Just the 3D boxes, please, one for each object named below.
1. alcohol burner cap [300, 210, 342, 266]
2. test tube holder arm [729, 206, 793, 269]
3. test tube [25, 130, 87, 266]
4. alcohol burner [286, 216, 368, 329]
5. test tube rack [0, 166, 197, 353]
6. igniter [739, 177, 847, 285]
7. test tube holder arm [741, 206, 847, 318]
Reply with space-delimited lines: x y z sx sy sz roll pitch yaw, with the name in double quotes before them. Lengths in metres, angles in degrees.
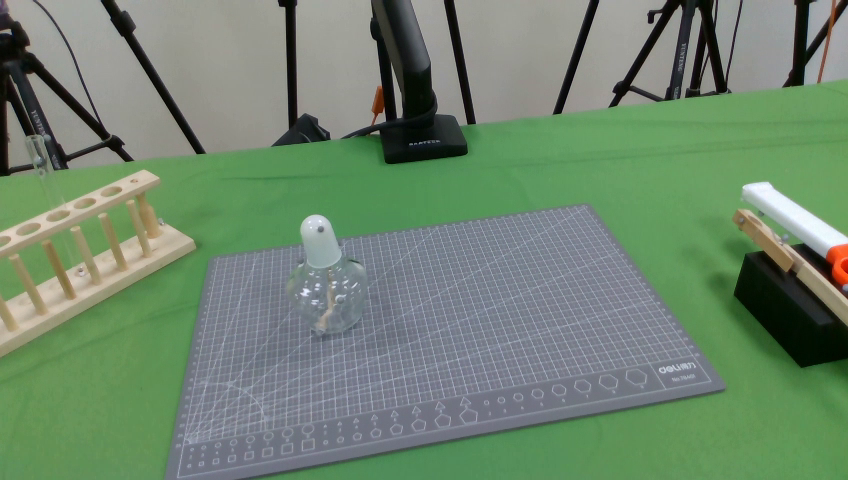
"alcohol burner cap" -0.094 -0.005 0.540 0.034 0.048 0.033 -5 38 4
"test tube holder arm" 0.316 -0.004 0.566 0.010 0.015 0.087 -4 35 -11
"test tube" -0.373 -0.038 0.617 0.017 0.151 0.017 -1 30 1
"alcohol burner" -0.092 0.025 0.561 0.078 0.120 0.077 -1 37 1
"test tube rack" -0.368 0.017 0.625 0.066 0.086 0.242 25 44 33
"igniter" 0.374 0.012 0.534 0.057 0.025 0.273 -9 33 -6
"test tube holder arm" 0.330 0.021 0.532 0.013 0.015 0.176 -4 35 -11
